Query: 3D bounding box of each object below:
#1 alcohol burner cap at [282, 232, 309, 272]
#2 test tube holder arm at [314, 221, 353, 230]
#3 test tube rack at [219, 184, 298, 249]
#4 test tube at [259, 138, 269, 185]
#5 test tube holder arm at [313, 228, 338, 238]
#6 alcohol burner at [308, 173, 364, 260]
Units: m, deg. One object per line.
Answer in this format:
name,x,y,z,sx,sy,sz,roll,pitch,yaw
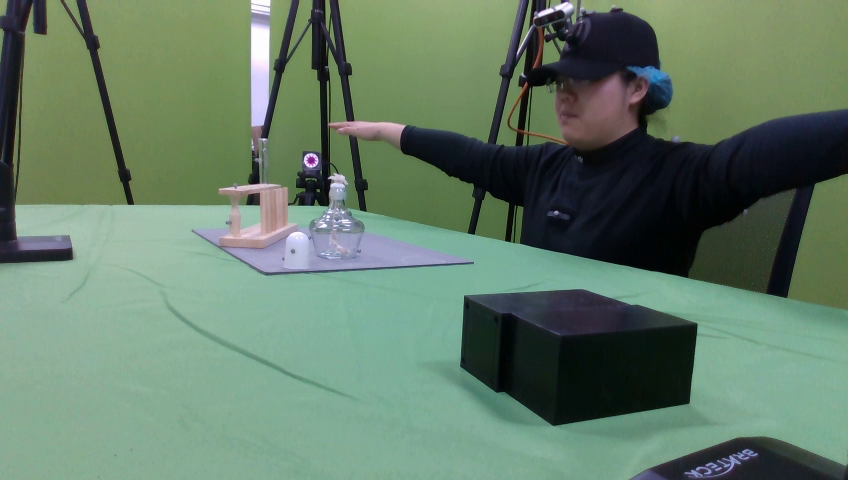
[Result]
alcohol burner cap,-0.157,0.014,0.740,0.034,0.048,0.034,2,6,0
test tube holder arm,-0.167,-0.027,1.137,0.015,0.013,0.179,10,7,11
test tube rack,-0.266,-0.046,1.002,0.067,0.085,0.242,3,7,0
test tube,-0.281,-0.104,1.064,0.017,0.150,0.017,2,12,0
test tube holder arm,-0.177,-0.016,1.094,0.015,0.010,0.088,9,13,11
alcohol burner,-0.121,-0.033,0.841,0.078,0.119,0.078,3,5,0
